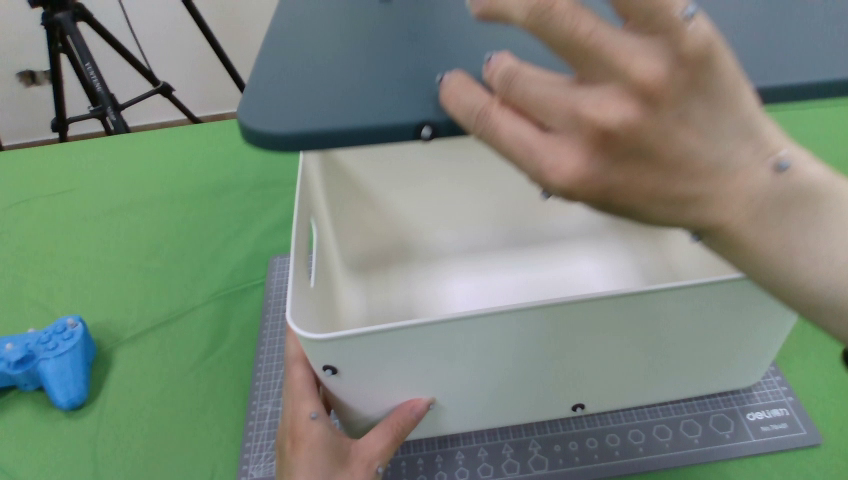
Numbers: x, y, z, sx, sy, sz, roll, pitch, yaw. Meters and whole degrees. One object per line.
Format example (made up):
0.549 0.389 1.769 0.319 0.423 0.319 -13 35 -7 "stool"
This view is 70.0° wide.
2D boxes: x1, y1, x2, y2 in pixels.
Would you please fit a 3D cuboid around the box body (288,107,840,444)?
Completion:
0.089 0.011 0.518 0.364 0.162 0.251 -9 42 -1 "box body"

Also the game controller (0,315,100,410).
-0.384 0.118 0.564 0.155 0.052 0.096 -8 38 -1 "game controller"

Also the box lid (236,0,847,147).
0.082 -0.136 0.378 0.372 0.015 0.260 -6 36 -2 "box lid"
